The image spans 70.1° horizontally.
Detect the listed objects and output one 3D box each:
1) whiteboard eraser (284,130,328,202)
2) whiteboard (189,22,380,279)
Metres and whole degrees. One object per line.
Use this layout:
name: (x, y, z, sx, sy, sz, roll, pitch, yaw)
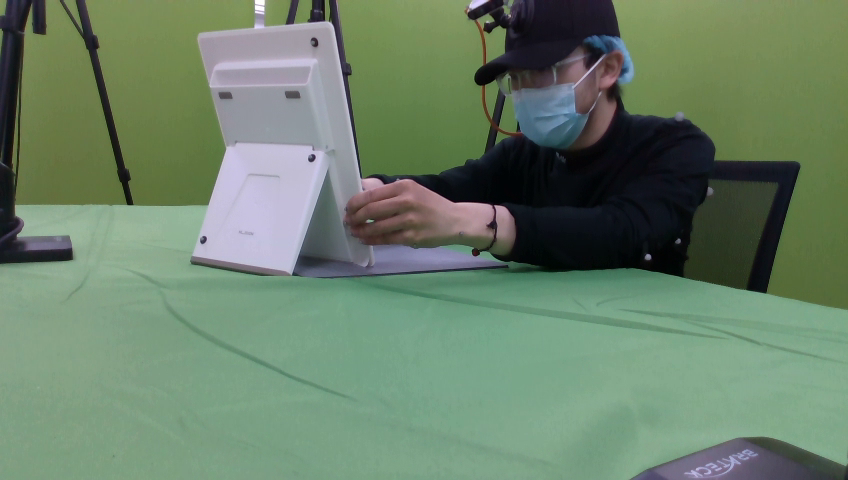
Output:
whiteboard eraser: (-0.162, -0.096, 0.817, 0.042, 0.055, 0.112, -33, -10, -25)
whiteboard: (-0.206, -0.086, 0.728, 0.216, 0.305, 0.144, 7, 30, 30)
